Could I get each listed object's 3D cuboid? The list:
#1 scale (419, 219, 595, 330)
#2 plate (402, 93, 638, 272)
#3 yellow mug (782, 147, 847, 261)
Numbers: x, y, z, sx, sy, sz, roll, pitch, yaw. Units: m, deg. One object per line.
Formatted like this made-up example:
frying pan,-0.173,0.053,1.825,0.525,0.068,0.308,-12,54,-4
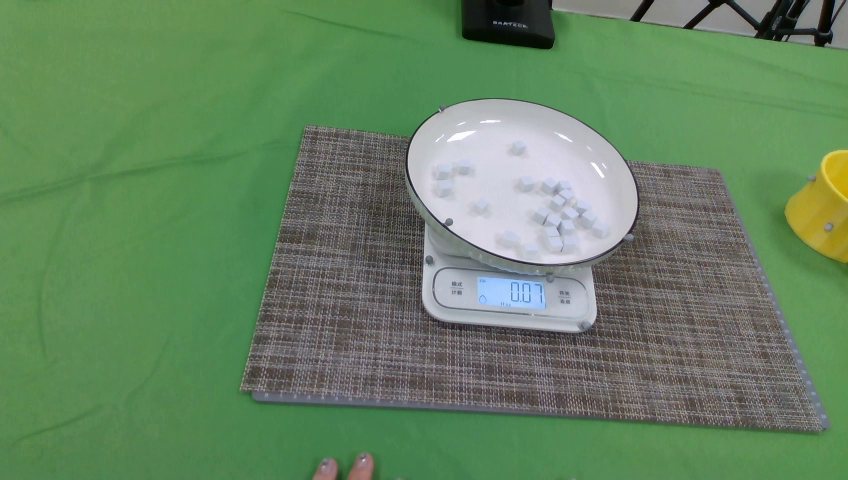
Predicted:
scale,0.073,-0.014,0.549,0.149,0.032,0.199,6,50,-4
plate,0.082,-0.052,0.540,0.209,0.038,0.207,5,50,-6
yellow mug,0.429,-0.025,0.601,0.100,0.064,0.129,5,51,-6
